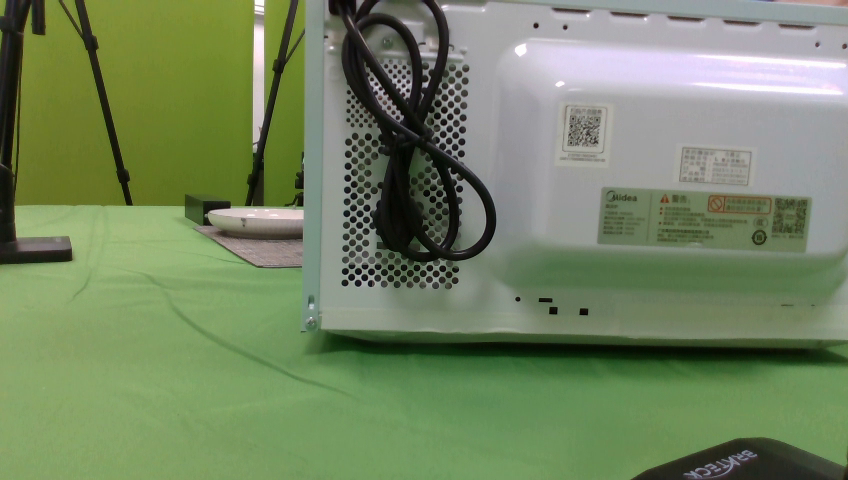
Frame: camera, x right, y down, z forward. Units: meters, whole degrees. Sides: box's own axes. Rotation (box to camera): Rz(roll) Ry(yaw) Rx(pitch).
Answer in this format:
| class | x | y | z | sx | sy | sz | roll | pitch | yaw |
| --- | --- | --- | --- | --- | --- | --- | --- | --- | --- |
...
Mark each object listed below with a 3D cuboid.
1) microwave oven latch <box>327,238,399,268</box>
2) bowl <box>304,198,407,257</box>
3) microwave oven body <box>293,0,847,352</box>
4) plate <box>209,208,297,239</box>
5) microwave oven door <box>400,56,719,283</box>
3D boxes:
| class | x | y | z | sx | sy | sz | roll | pitch | yaw |
| --- | --- | --- | --- | --- | --- | --- | --- | --- | --- |
| microwave oven latch | -0.069 | 0.015 | 0.694 | 0.079 | 0.029 | 0.030 | 3 | 7 | -3 |
| bowl | -0.101 | -0.019 | 0.895 | 0.151 | 0.077 | 0.151 | 2 | 8 | 0 |
| microwave oven body | 0.122 | -0.055 | 0.550 | 0.442 | 0.260 | 0.325 | 3 | 7 | -5 |
| plate | -0.271 | -0.029 | 1.074 | 0.208 | 0.039 | 0.207 | 3 | 7 | 0 |
| microwave oven door | 0.155 | -0.077 | 0.698 | 0.356 | 0.243 | 0.039 | 2 | 8 | -5 |
